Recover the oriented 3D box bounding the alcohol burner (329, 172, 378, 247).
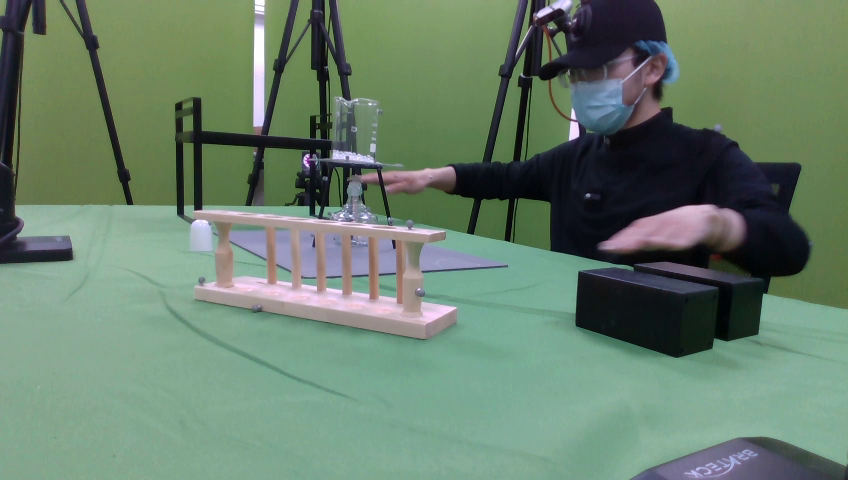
[{"bbox_3d":[-0.113,-0.049,0.972,0.078,0.119,0.078,1,9,0],"label":"alcohol burner"}]

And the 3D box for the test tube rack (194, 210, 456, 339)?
[{"bbox_3d":[-0.093,0.023,0.545,0.241,0.085,0.067,6,8,25],"label":"test tube rack"}]

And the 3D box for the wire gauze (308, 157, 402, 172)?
[{"bbox_3d":[-0.111,-0.122,0.956,0.125,0.011,0.121,4,8,-22],"label":"wire gauze"}]

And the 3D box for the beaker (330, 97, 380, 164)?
[{"bbox_3d":[-0.111,-0.171,0.953,0.074,0.100,0.084,5,8,7],"label":"beaker"}]

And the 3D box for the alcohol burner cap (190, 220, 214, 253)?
[{"bbox_3d":[-0.321,-0.006,0.875,0.034,0.048,0.034,4,8,0],"label":"alcohol burner cap"}]

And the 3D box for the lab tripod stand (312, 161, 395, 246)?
[{"bbox_3d":[-0.110,-0.058,0.970,0.148,0.131,0.148,4,6,0],"label":"lab tripod stand"}]
